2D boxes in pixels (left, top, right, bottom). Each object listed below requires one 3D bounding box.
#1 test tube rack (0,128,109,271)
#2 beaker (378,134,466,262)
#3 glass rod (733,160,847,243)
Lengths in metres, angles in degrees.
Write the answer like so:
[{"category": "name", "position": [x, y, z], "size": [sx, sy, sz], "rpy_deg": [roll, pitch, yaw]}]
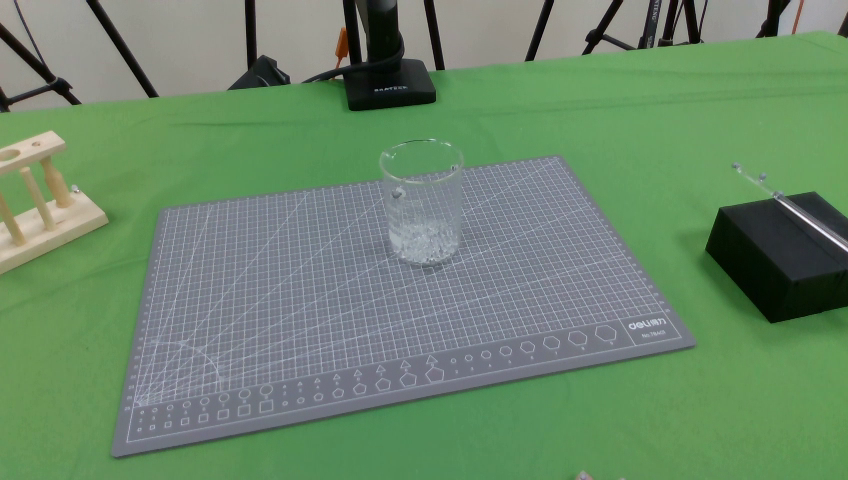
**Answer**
[{"category": "test tube rack", "position": [-0.435, -0.009, 0.554], "size": [0.066, 0.086, 0.242], "rpy_deg": [32, 50, 32]}, {"category": "beaker", "position": [-0.004, -0.037, 0.559], "size": [0.083, 0.101, 0.074], "rpy_deg": [26, 48, 30]}, {"category": "glass rod", "position": [0.341, -0.019, 0.524], "size": [0.008, 0.008, 0.197], "rpy_deg": [-16, 42, -16]}]
